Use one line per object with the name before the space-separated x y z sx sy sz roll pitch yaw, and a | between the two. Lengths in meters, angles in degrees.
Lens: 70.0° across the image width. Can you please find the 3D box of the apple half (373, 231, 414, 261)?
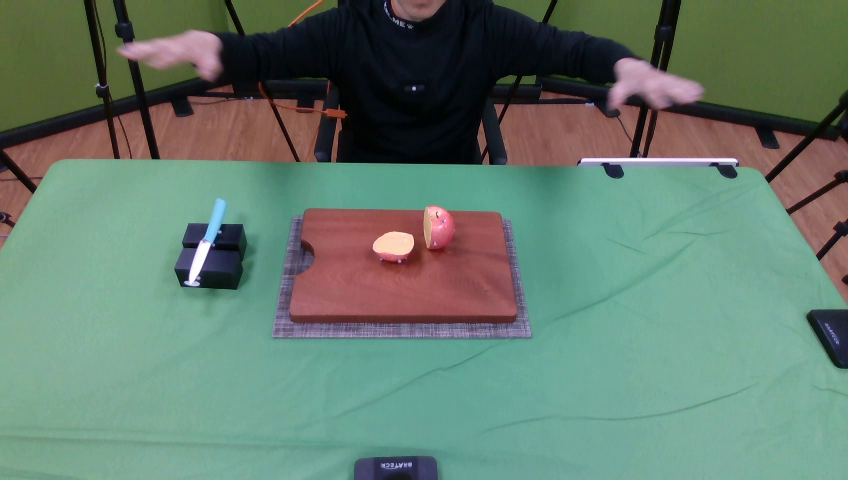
apple half | -0.053 0.017 1.127 0.081 0.033 0.081 -3 33 2

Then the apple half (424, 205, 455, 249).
apple half | 0.030 -0.023 1.144 0.053 0.075 0.080 -2 42 -11

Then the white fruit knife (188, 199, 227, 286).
white fruit knife | -0.393 0.001 1.104 0.027 0.016 0.206 -4 50 9
